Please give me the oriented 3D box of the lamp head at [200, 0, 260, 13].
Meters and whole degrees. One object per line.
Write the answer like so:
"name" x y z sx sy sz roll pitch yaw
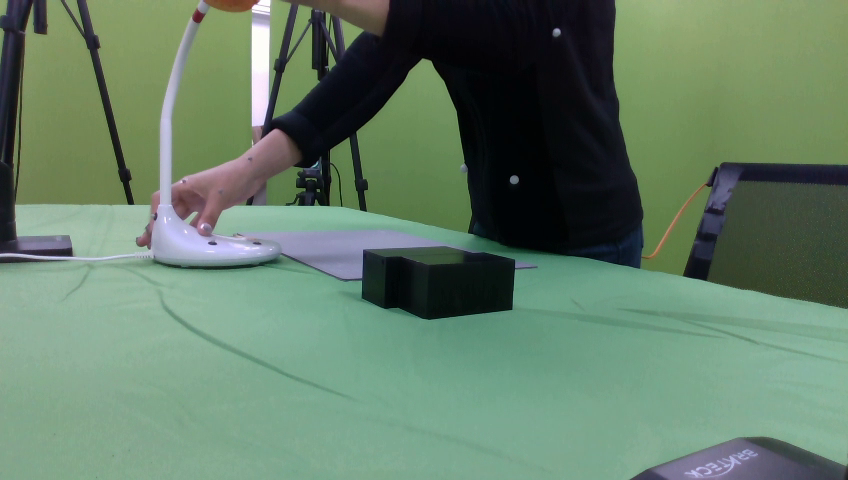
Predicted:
"lamp head" -0.201 -0.295 0.614 0.112 0.122 0.112 4 -6 1

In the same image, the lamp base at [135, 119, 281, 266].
"lamp base" -0.278 -0.062 0.775 0.160 0.180 0.180 7 11 44
